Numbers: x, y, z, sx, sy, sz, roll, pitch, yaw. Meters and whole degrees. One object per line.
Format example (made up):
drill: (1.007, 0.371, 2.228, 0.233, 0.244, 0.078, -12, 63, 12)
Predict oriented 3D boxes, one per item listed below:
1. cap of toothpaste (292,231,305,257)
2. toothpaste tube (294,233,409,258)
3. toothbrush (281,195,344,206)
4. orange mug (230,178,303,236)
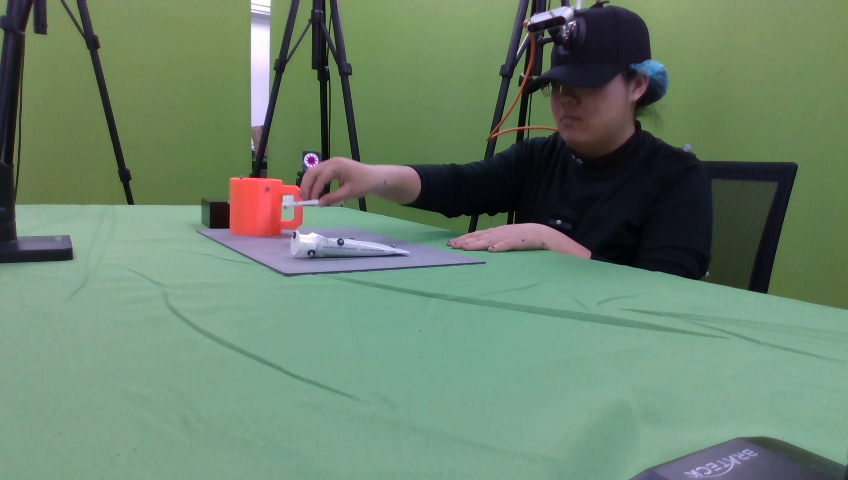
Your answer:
cap of toothpaste: (-0.169, 0.005, 0.812, 0.011, 0.037, 0.037, 6, 4, -29)
toothpaste tube: (-0.103, 0.010, 0.853, 0.166, 0.034, 0.055, 3, 11, -34)
toothbrush: (-0.175, -0.064, 0.970, 0.014, 0.016, 0.182, -1, 4, 21)
orange mug: (-0.276, -0.060, 1.058, 0.126, 0.101, 0.083, -2, 8, -5)
